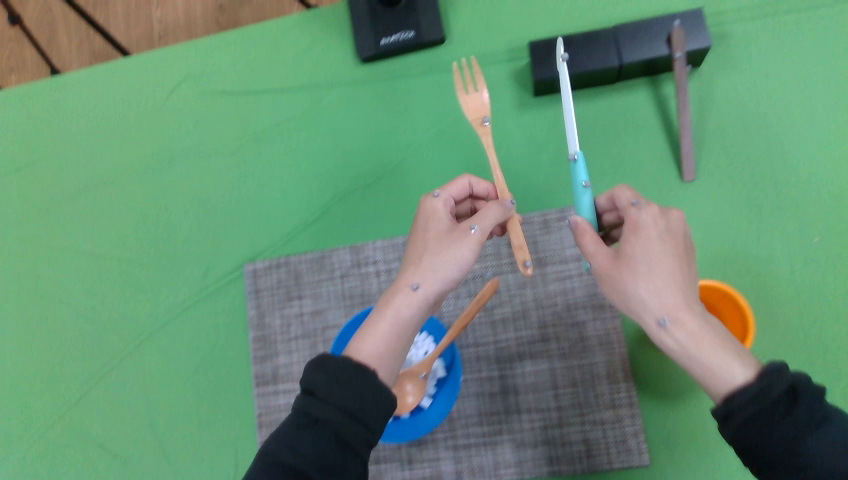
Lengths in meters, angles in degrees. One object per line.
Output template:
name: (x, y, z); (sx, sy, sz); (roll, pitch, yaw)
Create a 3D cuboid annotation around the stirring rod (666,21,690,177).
stirring rod: (0.293, -0.160, 0.696); (0.014, 0.006, 0.176); (-7, 99, 6)

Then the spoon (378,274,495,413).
spoon: (0.015, 0.112, 0.649); (0.041, 0.021, 0.194); (41, 108, 9)

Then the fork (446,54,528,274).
fork: (0.058, -0.069, 0.539); (0.028, 0.019, 0.206); (-15, 80, -10)

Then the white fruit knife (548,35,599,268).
white fruit knife: (0.128, -0.072, 0.527); (0.016, 0.027, 0.208); (-16, 104, -9)

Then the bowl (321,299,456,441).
bowl: (-0.033, 0.145, 0.686); (0.151, 0.077, 0.150); (-2, 79, 10)
